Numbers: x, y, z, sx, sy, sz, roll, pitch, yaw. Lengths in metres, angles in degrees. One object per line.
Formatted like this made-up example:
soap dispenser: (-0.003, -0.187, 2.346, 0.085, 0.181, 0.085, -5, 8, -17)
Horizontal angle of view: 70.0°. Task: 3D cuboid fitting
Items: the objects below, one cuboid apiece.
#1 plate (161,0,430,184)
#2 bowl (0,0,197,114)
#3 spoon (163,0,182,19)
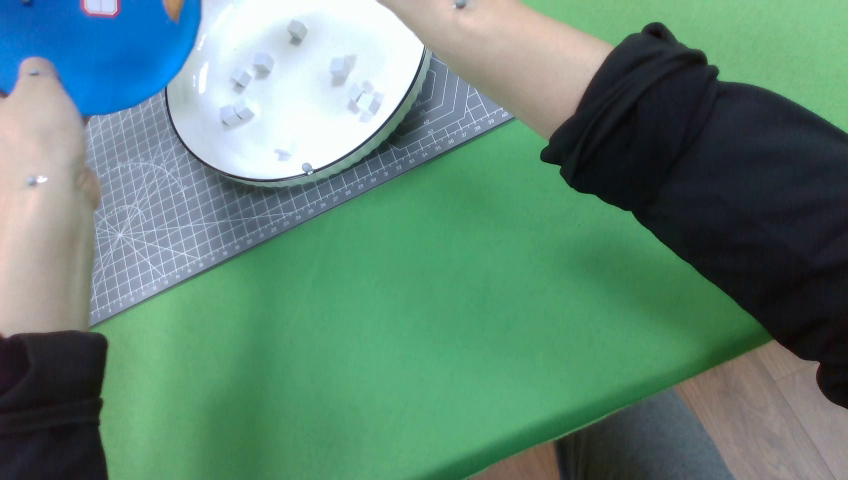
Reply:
plate: (-0.093, -0.134, 0.443, 0.208, 0.038, 0.208, -5, 73, 15)
bowl: (-0.217, -0.160, 0.384, 0.152, 0.076, 0.152, -4, 110, -10)
spoon: (-0.081, -0.172, 0.290, 0.193, 0.022, 0.041, -27, 58, 35)
